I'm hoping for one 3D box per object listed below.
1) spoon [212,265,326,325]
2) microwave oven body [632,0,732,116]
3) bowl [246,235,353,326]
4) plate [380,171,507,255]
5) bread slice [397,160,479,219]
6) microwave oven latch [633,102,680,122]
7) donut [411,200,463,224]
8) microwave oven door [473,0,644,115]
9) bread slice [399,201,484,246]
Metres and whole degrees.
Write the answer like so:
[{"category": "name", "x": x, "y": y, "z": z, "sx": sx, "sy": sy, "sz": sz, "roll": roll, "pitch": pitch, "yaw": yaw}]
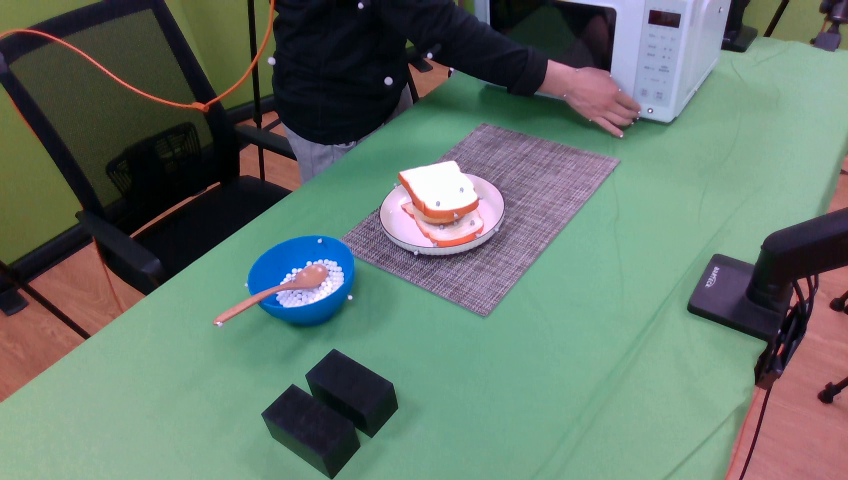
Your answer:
[{"category": "spoon", "x": -0.207, "y": 0.072, "z": 0.822, "sx": 0.041, "sy": 0.021, "sz": 0.195, "roll": 26, "pitch": 29, "yaw": 27}, {"category": "microwave oven body", "x": 0.377, "y": -0.463, "z": 1.267, "sx": 0.438, "sy": 0.261, "sz": 0.327, "roll": 21, "pitch": 49, "yaw": 30}, {"category": "bowl", "x": -0.170, "y": 0.070, "z": 0.868, "sx": 0.151, "sy": 0.077, "sz": 0.150, "roll": -4, "pitch": 41, "yaw": 4}, {"category": "plate", "x": 0.033, "y": -0.042, "z": 0.995, "sx": 0.207, "sy": 0.039, "sz": 0.206, "roll": -4, "pitch": 40, "yaw": 4}, {"category": "bread slice", "x": 0.028, "y": -0.081, "z": 0.952, "sx": 0.105, "sy": 0.019, "sz": 0.130, "roll": -14, "pitch": 43, "yaw": -18}, {"category": "microwave oven latch", "x": 0.444, "y": -0.250, "z": 1.158, "sx": 0.078, "sy": 0.029, "sz": 0.030, "roll": 21, "pitch": 49, "yaw": 30}, {"category": "donut", "x": 0.028, "y": -0.063, "z": 0.978, "sx": 0.099, "sy": 0.048, "sz": 0.098, "roll": -4, "pitch": 38, "yaw": 4}, {"category": "microwave oven door", "x": 0.257, "y": -0.396, "z": 1.199, "sx": 0.353, "sy": 0.245, "sz": 0.039, "roll": 21, "pitch": 48, "yaw": 29}, {"category": "bread slice", "x": 0.036, "y": -0.038, "z": 0.990, "sx": 0.107, "sy": 0.018, "sz": 0.133, "roll": -23, "pitch": 43, "yaw": -18}]
